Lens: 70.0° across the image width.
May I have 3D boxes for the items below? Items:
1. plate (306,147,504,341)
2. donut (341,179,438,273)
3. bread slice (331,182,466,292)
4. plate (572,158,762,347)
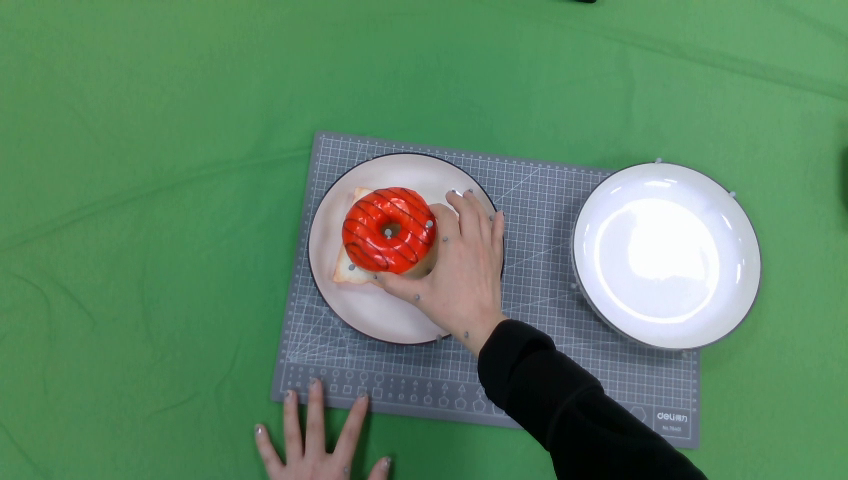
[{"bbox_3d":[-0.020,0.004,0.646,0.209,0.038,0.208,1,77,-5],"label":"plate"},{"bbox_3d":[-0.034,-0.015,0.604,0.099,0.048,0.098,-4,67,9],"label":"donut"},{"bbox_3d":[-0.023,0.000,0.648,0.134,0.018,0.106,9,77,-3],"label":"bread slice"},{"bbox_3d":[0.261,0.014,0.665,0.208,0.039,0.206,1,77,-4],"label":"plate"}]
